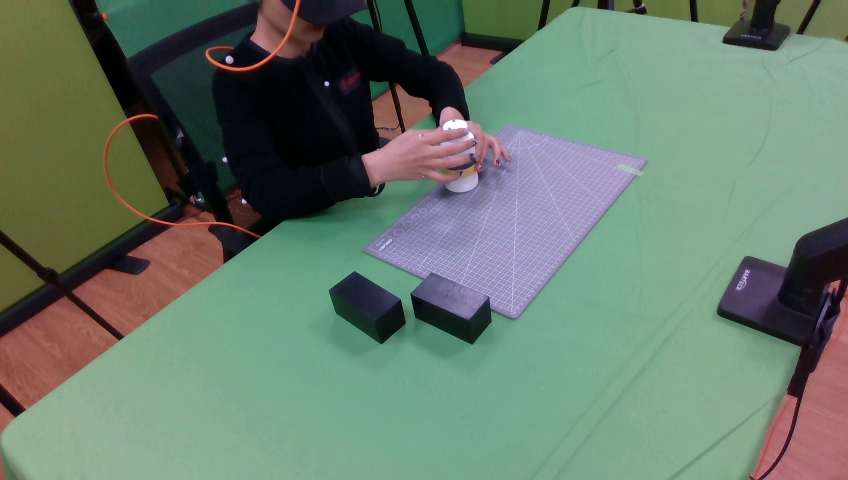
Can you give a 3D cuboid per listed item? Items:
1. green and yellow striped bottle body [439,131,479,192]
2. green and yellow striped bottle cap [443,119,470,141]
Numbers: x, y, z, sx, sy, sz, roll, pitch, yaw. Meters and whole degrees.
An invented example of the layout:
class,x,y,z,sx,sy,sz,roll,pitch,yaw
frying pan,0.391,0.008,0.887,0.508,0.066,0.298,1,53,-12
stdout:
class,x,y,z,sx,sy,sz,roll,pitch,yaw
green and yellow striped bottle body,0.061,-0.149,1.066,0.063,0.120,0.063,-5,40,5
green and yellow striped bottle cap,0.055,-0.188,1.033,0.045,0.020,0.045,-6,41,6
